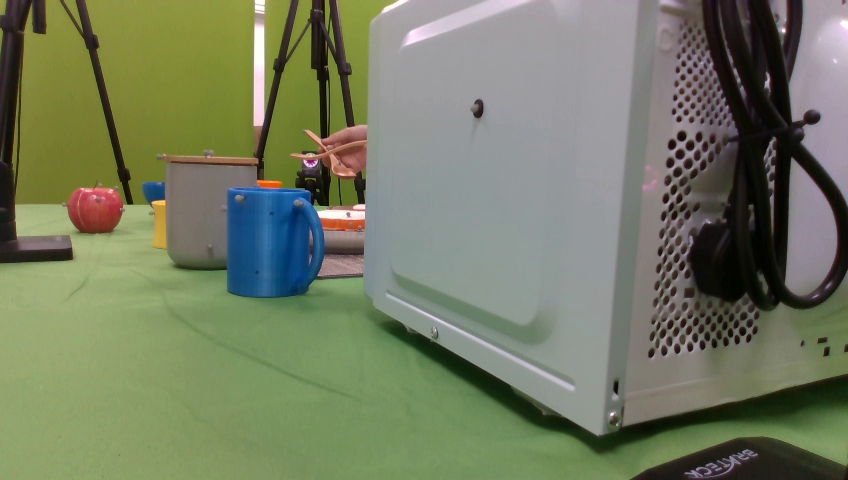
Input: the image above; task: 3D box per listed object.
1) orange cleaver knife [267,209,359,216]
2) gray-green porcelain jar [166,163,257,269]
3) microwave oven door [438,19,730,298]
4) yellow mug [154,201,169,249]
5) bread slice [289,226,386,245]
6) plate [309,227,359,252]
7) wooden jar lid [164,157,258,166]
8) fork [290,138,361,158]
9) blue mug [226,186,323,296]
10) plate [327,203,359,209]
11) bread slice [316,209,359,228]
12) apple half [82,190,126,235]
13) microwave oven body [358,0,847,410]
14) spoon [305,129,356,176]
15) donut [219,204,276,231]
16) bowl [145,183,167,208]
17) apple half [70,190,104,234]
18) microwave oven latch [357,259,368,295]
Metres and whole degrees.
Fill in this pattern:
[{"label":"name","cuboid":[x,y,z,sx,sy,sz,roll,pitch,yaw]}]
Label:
[{"label":"orange cleaver knife","cuboid":[-0.259,-0.064,1.423,0.212,0.012,0.077,-4,3,-30]},{"label":"gray-green porcelain jar","cuboid":[-0.263,-0.031,0.754,0.106,0.126,0.106,2,7,0]},{"label":"microwave oven door","cuboid":[0.181,-0.076,0.618,0.358,0.243,0.039,-2,8,-28]},{"label":"yellow mug","cuboid":[-0.338,-0.022,0.899,0.130,0.064,0.100,8,9,34]},{"label":"bread slice","cuboid":[-0.125,-0.008,0.938,0.131,0.019,0.105,4,7,31]},{"label":"plate","cuboid":[-0.130,-0.011,0.945,0.208,0.039,0.207,2,8,0]},{"label":"wooden jar lid","cuboid":[-0.261,-0.093,0.746,0.108,0.020,0.108,1,9,0]},{"label":"fork","cuboid":[-0.119,-0.153,0.983,0.207,0.018,0.028,-10,8,10]},{"label":"blue mug","cuboid":[-0.148,0.000,0.618,0.116,0.106,0.083,7,9,33]},{"label":"plate","cuboid":[-0.102,-0.053,1.299,0.209,0.038,0.209,2,8,0]},{"label":"bread slice","cuboid":[-0.127,-0.034,0.934,0.134,0.018,0.107,3,10,28]},{"label":"apple half","cuboid":[-0.517,-0.046,0.994,0.032,0.081,0.081,0,6,26]},{"label":"microwave oven body","cuboid":[0.210,-0.051,0.471,0.444,0.260,0.324,-1,7,-28]},{"label":"spoon","cuboid":[-0.185,-0.171,1.162,0.042,0.021,0.193,-7,41,-34]},{"label":"donut","cuboid":[-0.316,-0.039,1.083,0.099,0.048,0.099,3,7,0]},{"label":"bowl","cuboid":[-0.459,-0.068,1.175,0.151,0.077,0.151,2,8,0]},{"label":"apple half","cuboid":[-0.552,-0.047,1.009,0.053,0.074,0.081,0,9,26]},{"label":"microwave oven latch","cuboid":[-0.019,0.031,0.529,0.079,0.029,0.030,-1,7,-26]}]
